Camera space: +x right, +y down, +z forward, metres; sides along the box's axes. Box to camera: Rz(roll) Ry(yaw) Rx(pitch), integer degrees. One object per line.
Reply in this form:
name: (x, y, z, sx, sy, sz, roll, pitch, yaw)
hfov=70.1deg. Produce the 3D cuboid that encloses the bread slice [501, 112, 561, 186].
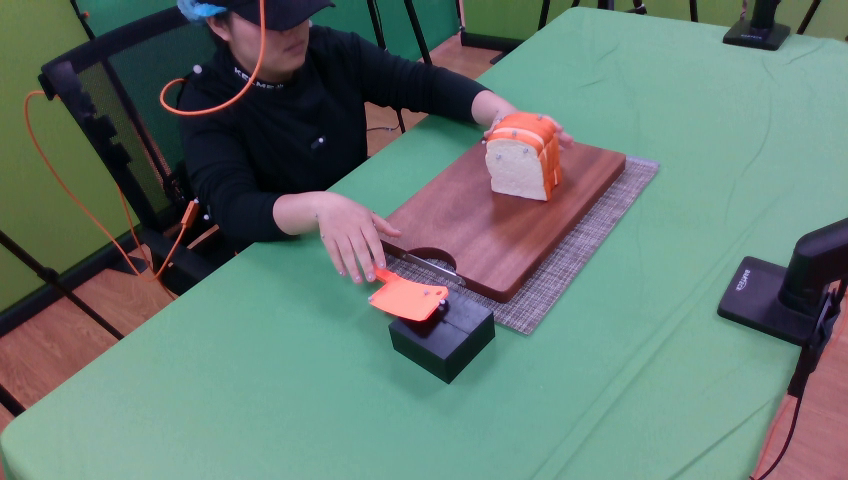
bread slice: (0.176, -0.150, 1.002, 0.106, 0.135, 0.018, 16, 51, 23)

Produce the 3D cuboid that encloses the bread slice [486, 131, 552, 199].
bread slice: (0.149, -0.119, 0.973, 0.104, 0.132, 0.019, 11, 54, 27)

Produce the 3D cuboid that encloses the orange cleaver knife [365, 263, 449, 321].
orange cleaver knife: (-0.042, 0.072, 0.870, 0.077, 0.012, 0.209, -37, 28, -23)
